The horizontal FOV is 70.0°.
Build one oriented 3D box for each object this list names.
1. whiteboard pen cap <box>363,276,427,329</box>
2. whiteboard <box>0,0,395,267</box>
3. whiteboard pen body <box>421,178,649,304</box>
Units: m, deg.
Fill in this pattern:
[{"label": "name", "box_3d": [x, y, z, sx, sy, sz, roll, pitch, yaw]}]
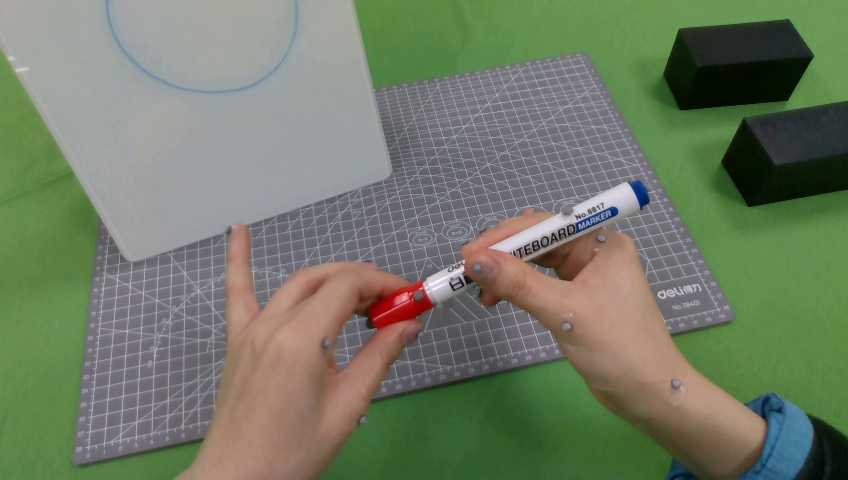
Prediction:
[{"label": "whiteboard pen cap", "box_3d": [-0.013, 0.031, 0.308, 0.032, 0.017, 0.017, -23, 57, -1]}, {"label": "whiteboard", "box_3d": [-0.170, -0.171, 0.442, 0.217, 0.308, 0.142, -19, 38, -10]}, {"label": "whiteboard pen body", "box_3d": [0.043, 0.006, 0.298, 0.140, 0.017, 0.016, -26, 56, 8]}]
